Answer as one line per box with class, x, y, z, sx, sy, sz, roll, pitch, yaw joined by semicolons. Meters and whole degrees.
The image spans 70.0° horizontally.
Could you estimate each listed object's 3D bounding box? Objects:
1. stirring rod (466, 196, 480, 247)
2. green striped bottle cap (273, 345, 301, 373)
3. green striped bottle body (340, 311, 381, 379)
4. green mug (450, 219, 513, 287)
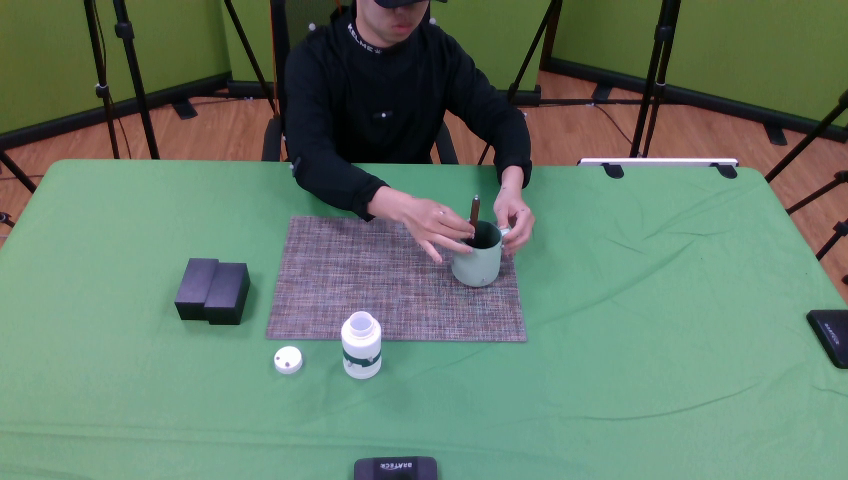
stirring rod;0.084;-0.010;1.090;0.014;0.177;0.006;1;45;-3
green striped bottle cap;-0.225;0.195;0.997;0.044;0.020;0.044;2;50;-3
green striped bottle body;-0.101;0.164;0.964;0.063;0.120;0.063;2;46;-2
green mug;0.111;0.019;1.125;0.125;0.105;0.092;-22;52;-23
